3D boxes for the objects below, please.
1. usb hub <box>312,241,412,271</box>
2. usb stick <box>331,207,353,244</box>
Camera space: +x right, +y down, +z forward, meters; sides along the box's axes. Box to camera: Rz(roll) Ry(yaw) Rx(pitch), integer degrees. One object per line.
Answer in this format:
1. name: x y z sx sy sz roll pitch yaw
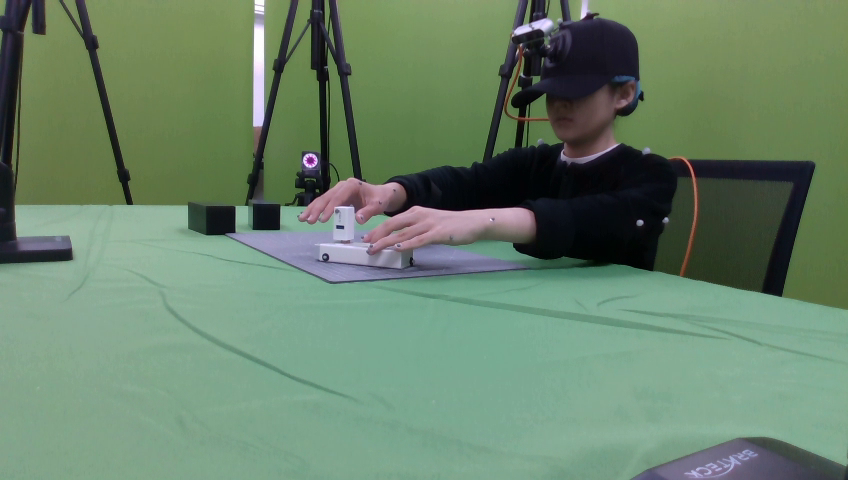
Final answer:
1. usb hub: -0.082 0.020 0.803 0.125 0.025 0.049 5 8 17
2. usb stick: -0.110 -0.014 0.812 0.021 0.059 0.027 6 11 16
